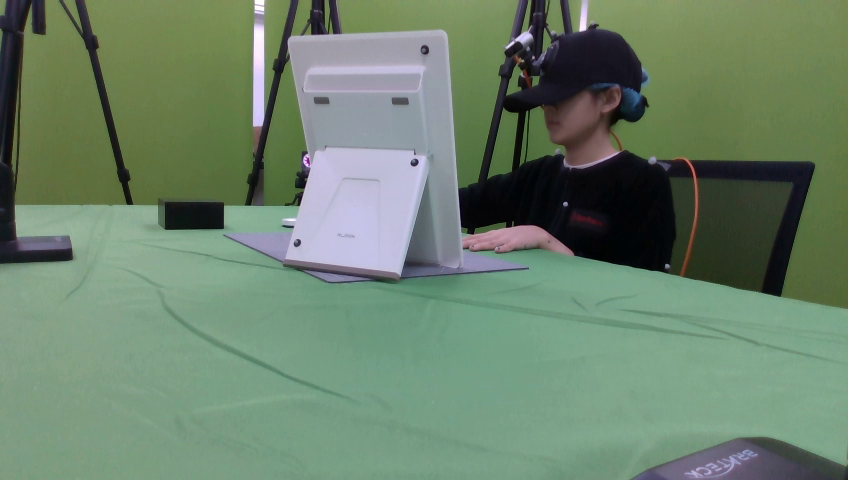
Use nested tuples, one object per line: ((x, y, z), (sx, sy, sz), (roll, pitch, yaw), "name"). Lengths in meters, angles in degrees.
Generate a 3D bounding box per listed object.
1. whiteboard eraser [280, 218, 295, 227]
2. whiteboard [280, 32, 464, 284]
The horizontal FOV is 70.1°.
((-0.242, -0.036, 1.229), (0.102, 0.019, 0.041), (0, 7, -33), "whiteboard eraser")
((-0.086, -0.080, 0.728), (0.216, 0.305, 0.144), (7, 28, 24), "whiteboard")
